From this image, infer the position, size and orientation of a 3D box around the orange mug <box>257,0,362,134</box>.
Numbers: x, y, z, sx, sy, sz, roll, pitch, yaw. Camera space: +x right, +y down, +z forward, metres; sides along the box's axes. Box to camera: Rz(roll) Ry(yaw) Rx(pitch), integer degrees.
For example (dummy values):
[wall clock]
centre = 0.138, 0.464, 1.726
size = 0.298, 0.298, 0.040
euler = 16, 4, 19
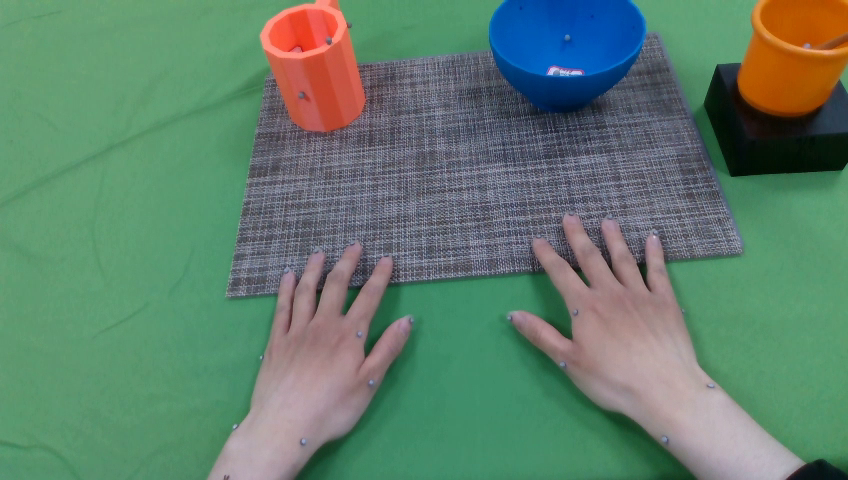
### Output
[orange mug]
centre = -0.113, -0.191, 0.641
size = 0.083, 0.102, 0.125
euler = 6, 60, 11

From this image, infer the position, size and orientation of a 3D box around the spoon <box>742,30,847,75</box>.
[spoon]
centre = 0.342, -0.161, 0.477
size = 0.041, 0.193, 0.022
euler = -35, 102, -20

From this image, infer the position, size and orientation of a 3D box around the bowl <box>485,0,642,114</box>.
[bowl]
centre = 0.138, -0.184, 0.618
size = 0.151, 0.077, 0.150
euler = -3, 55, 4
